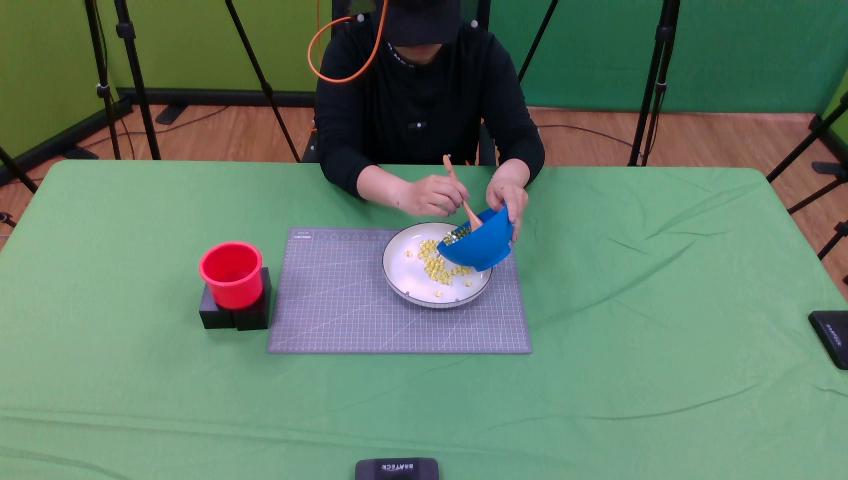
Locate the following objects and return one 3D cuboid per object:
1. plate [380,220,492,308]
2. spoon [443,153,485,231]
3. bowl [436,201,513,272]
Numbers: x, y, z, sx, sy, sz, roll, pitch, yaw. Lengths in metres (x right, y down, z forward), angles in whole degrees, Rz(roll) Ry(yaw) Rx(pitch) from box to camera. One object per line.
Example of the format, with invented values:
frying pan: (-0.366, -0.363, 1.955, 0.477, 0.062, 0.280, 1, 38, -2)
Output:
plate: (0.022, 0.048, 1.138, 0.208, 0.039, 0.206, 2, 46, -2)
spoon: (0.075, -0.068, 1.090, 0.041, 0.021, 0.193, -23, 81, -23)
bowl: (0.104, 0.004, 1.075, 0.151, 0.151, 0.077, -39, 99, -33)
